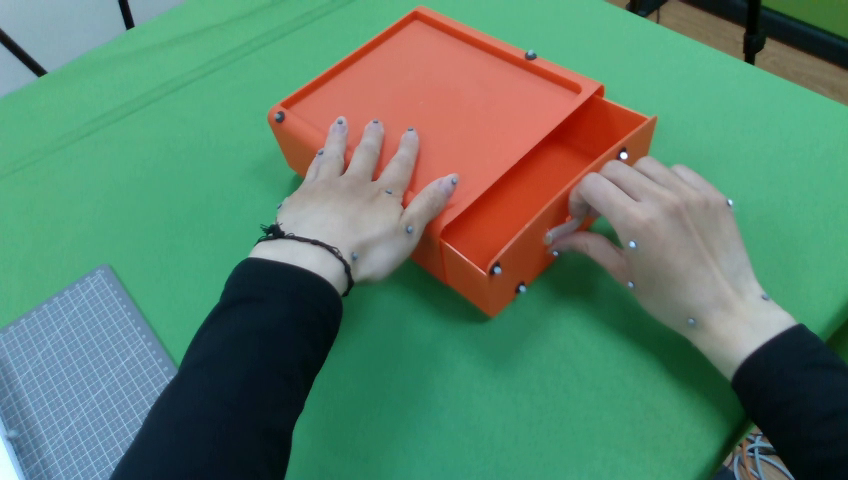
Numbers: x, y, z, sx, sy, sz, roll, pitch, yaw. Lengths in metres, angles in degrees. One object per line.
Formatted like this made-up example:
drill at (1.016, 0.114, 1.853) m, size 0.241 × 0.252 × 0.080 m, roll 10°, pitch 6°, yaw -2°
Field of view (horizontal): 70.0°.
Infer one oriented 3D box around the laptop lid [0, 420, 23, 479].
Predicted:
laptop lid at (-0.421, 0.246, 0.365) m, size 0.356 × 0.013 × 0.239 m, roll -36°, pitch 59°, yaw -18°

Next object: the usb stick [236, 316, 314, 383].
usb stick at (-0.109, 0.077, 0.455) m, size 0.021 × 0.027 × 0.059 m, roll 34°, pitch 61°, yaw 30°

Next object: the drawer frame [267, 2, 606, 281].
drawer frame at (0.011, -0.098, 0.531) m, size 0.211 × 0.083 × 0.201 m, roll 34°, pitch 66°, yaw 30°

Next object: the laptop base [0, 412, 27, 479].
laptop base at (-0.421, 0.252, 0.376) m, size 0.354 × 0.023 × 0.233 m, roll -38°, pitch 60°, yaw -19°

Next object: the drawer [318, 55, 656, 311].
drawer at (0.045, -0.073, 0.507) m, size 0.194 × 0.074 × 0.210 m, roll -41°, pitch 58°, yaw -20°
